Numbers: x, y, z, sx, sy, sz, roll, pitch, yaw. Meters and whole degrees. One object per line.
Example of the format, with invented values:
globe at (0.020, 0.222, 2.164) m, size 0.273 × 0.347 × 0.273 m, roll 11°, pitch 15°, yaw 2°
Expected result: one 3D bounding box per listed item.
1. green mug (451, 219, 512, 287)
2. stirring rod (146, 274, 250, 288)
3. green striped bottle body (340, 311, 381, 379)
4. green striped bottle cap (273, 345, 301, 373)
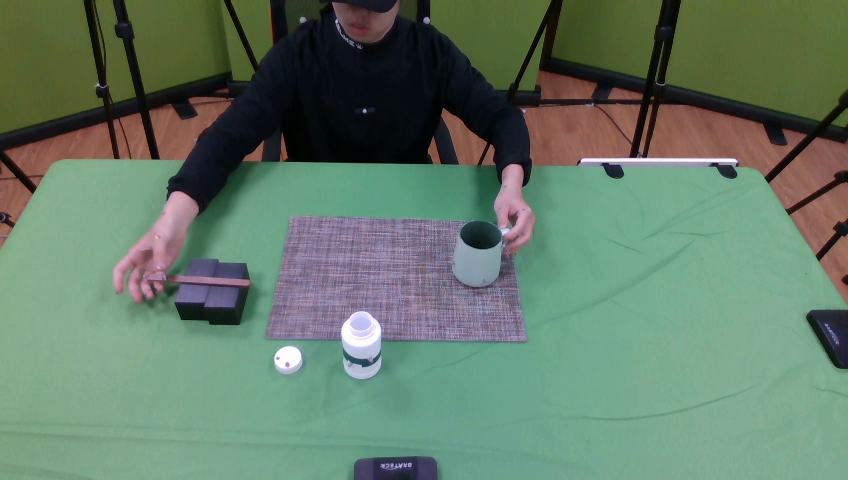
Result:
green mug at (0.112, 0.019, 1.125) m, size 0.125 × 0.105 × 0.092 m, roll -24°, pitch 52°, yaw -25°
stirring rod at (-0.389, 0.070, 1.044) m, size 0.176 × 0.006 × 0.014 m, roll 4°, pitch 39°, yaw -1°
green striped bottle body at (-0.101, 0.165, 0.964) m, size 0.063 × 0.120 × 0.063 m, roll 2°, pitch 46°, yaw -2°
green striped bottle cap at (-0.225, 0.195, 0.997) m, size 0.044 × 0.020 × 0.044 m, roll 2°, pitch 50°, yaw -3°
